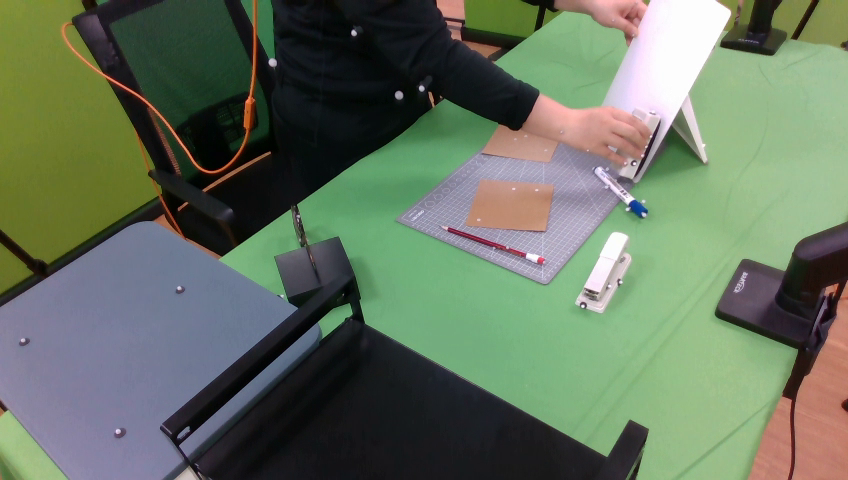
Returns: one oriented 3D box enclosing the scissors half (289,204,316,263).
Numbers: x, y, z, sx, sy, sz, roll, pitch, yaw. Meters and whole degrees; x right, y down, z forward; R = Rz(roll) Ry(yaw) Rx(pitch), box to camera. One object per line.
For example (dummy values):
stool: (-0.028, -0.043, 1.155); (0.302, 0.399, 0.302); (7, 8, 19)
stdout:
scissors half: (-0.189, -0.011, 0.944); (0.013, 0.040, 0.173); (-15, 37, -17)

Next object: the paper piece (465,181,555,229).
paper piece: (0.150, -0.062, 1.034); (0.137, 0.009, 0.136); (5, 37, 17)

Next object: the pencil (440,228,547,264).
pencil: (0.105, 0.007, 0.957); (0.192, 0.012, 0.012); (18, 46, 30)

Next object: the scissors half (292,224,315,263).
scissors half: (-0.187, 0.007, 0.954); (0.013, 0.040, 0.174); (-20, 21, -14)

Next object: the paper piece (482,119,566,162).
paper piece: (0.198, -0.199, 1.188); (0.135, 0.004, 0.135); (12, 43, 20)

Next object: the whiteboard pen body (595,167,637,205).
whiteboard pen body: (0.331, -0.085, 1.026); (0.017, 0.017, 0.139); (-17, 41, -10)

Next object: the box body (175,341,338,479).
box body: (-0.311, 0.165, 0.720); (0.361, 0.161, 0.255); (23, 49, 32)

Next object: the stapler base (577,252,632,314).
stapler base: (0.264, 0.051, 0.875); (0.041, 0.024, 0.131); (16, 47, 30)

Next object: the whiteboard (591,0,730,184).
whiteboard: (0.451, -0.269, 1.054); (0.144, 0.305, 0.216); (7, 37, -14)

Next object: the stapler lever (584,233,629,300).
stapler lever: (0.261, 0.034, 0.858); (0.026, 0.040, 0.118); (16, 45, 30)

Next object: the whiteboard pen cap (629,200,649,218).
whiteboard pen cap: (0.348, -0.051, 0.983); (0.018, 0.018, 0.033); (-18, 43, -12)

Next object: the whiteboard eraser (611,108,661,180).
whiteboard eraser: (0.360, -0.161, 1.021); (0.042, 0.113, 0.055); (10, 26, -13)

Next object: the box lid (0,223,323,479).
box lid: (-0.318, 0.109, 0.671); (0.368, 0.015, 0.264); (24, 49, 32)
